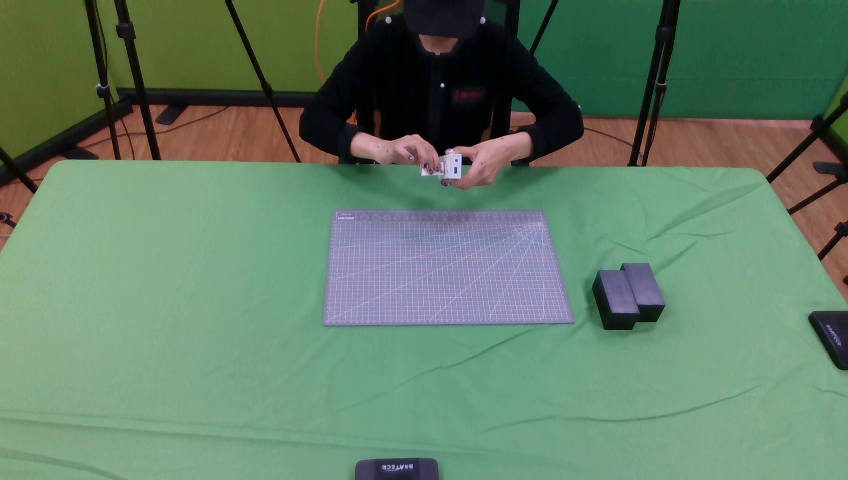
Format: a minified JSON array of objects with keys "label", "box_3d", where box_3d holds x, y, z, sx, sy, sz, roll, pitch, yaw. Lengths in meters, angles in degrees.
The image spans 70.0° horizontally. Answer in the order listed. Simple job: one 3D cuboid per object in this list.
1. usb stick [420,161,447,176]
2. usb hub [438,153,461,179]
[{"label":"usb stick","box_3d":[0.023,-0.142,1.204,0.059,0.021,0.027,1,84,-14]},{"label":"usb hub","box_3d":[0.050,-0.148,1.211,0.025,0.049,0.125,1,5,-10]}]
